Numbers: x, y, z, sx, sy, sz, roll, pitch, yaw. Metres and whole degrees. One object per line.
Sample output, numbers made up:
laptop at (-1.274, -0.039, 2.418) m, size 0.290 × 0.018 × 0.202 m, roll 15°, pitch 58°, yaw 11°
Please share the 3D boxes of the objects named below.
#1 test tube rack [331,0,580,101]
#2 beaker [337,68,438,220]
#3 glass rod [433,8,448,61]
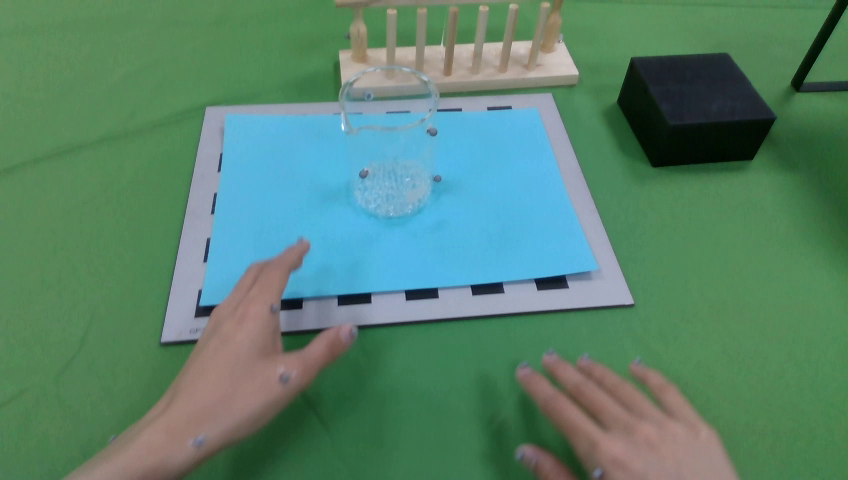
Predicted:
test tube rack at (0.032, -0.201, 0.608) m, size 0.243 × 0.086 × 0.066 m, roll -5°, pitch 50°, yaw -7°
beaker at (-0.031, -0.070, 0.480) m, size 0.073 × 0.101 × 0.084 m, roll 34°, pitch 57°, yaw 24°
glass rod at (0.025, -0.252, 0.563) m, size 0.008 × 0.201 × 0.008 m, roll 5°, pitch 52°, yaw -6°
